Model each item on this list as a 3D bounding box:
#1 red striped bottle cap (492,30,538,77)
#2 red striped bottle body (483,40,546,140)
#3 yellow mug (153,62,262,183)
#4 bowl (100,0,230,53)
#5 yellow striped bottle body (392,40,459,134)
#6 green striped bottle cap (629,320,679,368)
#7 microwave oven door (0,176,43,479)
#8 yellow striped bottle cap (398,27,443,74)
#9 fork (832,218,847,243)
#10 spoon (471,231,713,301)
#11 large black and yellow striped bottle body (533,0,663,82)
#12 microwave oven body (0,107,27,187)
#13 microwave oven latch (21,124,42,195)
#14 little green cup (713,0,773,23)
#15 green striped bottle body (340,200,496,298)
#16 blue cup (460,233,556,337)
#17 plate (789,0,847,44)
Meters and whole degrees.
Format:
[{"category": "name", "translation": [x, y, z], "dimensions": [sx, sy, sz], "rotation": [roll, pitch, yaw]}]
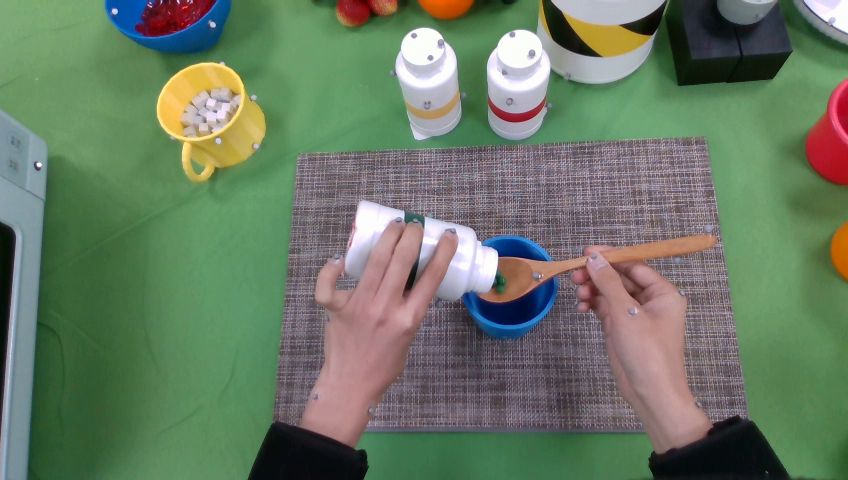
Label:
[{"category": "red striped bottle cap", "translation": [0.088, -0.179, 0.581], "dimensions": [0.044, 0.018, 0.044], "rotation": [-1, 69, 2]}, {"category": "red striped bottle body", "translation": [0.095, -0.161, 0.630], "dimensions": [0.063, 0.120, 0.062], "rotation": [-4, 68, 9]}, {"category": "yellow mug", "translation": [-0.246, -0.127, 0.684], "dimensions": [0.100, 0.064, 0.130], "rotation": [8, 72, 8]}, {"category": "bowl", "translation": [-0.299, -0.283, 0.738], "dimensions": [0.151, 0.077, 0.150], "rotation": [-2, 71, 5]}, {"category": "yellow striped bottle body", "translation": [0.003, -0.169, 0.642], "dimensions": [0.063, 0.121, 0.062], "rotation": [-2, 70, 7]}, {"category": "green striped bottle cap", "translation": [0.219, 0.099, 0.577], "dimensions": [0.044, 0.020, 0.044], "rotation": [-2, 67, 5]}, {"category": "microwave oven door", "translation": [-0.435, 0.080, 0.520], "dimensions": [0.039, 0.245, 0.353], "rotation": [-11, 70, 3]}, {"category": "yellow striped bottle cap", "translation": [-0.003, -0.186, 0.594], "dimensions": [0.044, 0.019, 0.044], "rotation": [-2, 72, 5]}, {"category": "fork", "translation": [0.451, 0.019, 0.512], "dimensions": [0.028, 0.019, 0.205], "rotation": [-39, 27, -7]}, {"category": "spoon", "translation": [0.129, 0.018, 0.489], "dimensions": [0.193, 0.022, 0.041], "rotation": [-13, 63, 23]}, {"category": "large black and yellow striped bottle body", "translation": [0.182, -0.266, 0.623], "dimensions": [0.130, 0.185, 0.130], "rotation": [-2, 70, 6]}, {"category": "microwave oven body", "translation": [-0.584, 0.069, 0.545], "dimensions": [0.326, 0.262, 0.438], "rotation": [-11, 71, 2]}, {"category": "microwave oven latch", "translation": [-0.456, -0.089, 0.689], "dimensions": [0.030, 0.030, 0.078], "rotation": [-9, 71, 3]}, {"category": "little green cup", "translation": [0.333, -0.258, 0.627], "dimensions": [0.061, 0.039, 0.061], "rotation": [-2, 69, 4]}, {"category": "green striped bottle body", "translation": [-0.004, 0.010, 0.492], "dimensions": [0.119, 0.063, 0.063], "rotation": [12, 71, -7]}, {"category": "blue cup", "translation": [0.074, 0.051, 0.564], "dimensions": [0.092, 0.101, 0.092], "rotation": [-1, 70, 4]}, {"category": "plate", "translation": [0.503, -0.295, 0.675], "dimensions": [0.209, 0.038, 0.207], "rotation": [-2, 71, 6]}]
